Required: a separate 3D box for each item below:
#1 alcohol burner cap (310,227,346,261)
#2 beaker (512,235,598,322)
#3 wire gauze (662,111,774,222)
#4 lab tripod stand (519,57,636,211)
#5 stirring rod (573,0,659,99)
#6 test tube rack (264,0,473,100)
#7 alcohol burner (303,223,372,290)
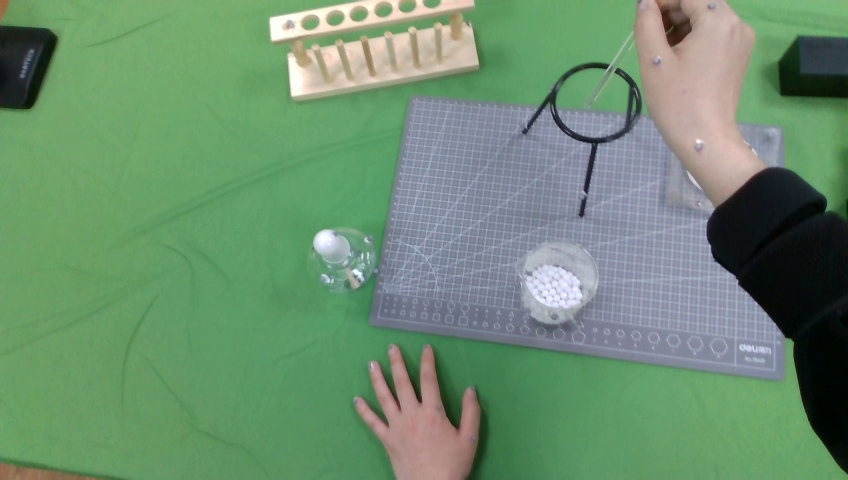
[{"bbox_3d":[-0.103,0.002,0.630,0.034,0.048,0.033,-1,76,5],"label":"alcohol burner cap"},{"bbox_3d":[0.132,0.045,0.638,0.084,0.101,0.073,13,74,10],"label":"beaker"},{"bbox_3d":[0.343,-0.089,0.705,0.125,0.011,0.121,11,74,6],"label":"wire gauze"},{"bbox_3d":[0.174,-0.121,0.665,0.148,0.132,0.147,-1,75,4],"label":"lab tripod stand"},{"bbox_3d":[0.152,-0.161,0.430,0.014,0.177,0.006,42,59,7],"label":"stirring rod"},{"bbox_3d":[-0.064,-0.245,0.751,0.242,0.086,0.066,-10,73,2],"label":"test tube rack"},{"bbox_3d":[-0.098,0.013,0.664,0.078,0.120,0.077,-1,71,4],"label":"alcohol burner"}]
